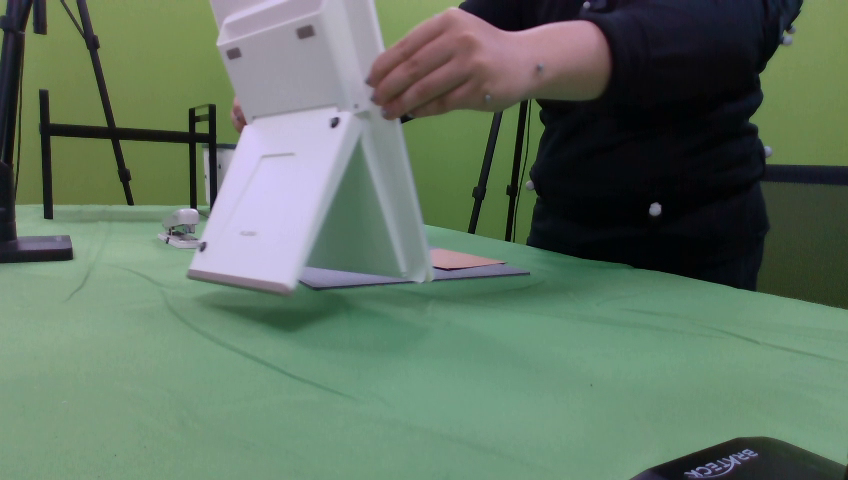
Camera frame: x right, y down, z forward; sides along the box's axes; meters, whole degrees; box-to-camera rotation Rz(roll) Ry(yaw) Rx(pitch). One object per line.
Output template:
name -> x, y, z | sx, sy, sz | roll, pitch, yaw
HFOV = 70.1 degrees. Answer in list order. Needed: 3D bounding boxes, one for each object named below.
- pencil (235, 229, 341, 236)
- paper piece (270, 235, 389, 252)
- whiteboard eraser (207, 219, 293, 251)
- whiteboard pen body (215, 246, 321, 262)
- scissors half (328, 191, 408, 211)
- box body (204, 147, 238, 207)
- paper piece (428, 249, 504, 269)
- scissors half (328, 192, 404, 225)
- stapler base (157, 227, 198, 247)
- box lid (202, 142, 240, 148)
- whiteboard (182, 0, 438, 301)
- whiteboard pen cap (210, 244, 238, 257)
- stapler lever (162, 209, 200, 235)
pencil -> -0.232, -0.012, 1.053 | 0.195, 0.012, 0.012 | 0, 8, -36
paper piece -> -0.151, 0.003, 0.978 | 0.135, 0.008, 0.139 | 13, 10, 35
whiteboard eraser -> -0.253, -0.008, 0.886 | 0.055, 0.042, 0.113 | 12, 12, 43
whiteboard pen body -> -0.208, 0.018, 0.804 | 0.141, 0.017, 0.017 | 3, 7, 2
scissors half -> -0.122, -0.091, 1.318 | 0.175, 0.040, 0.013 | 6, 12, -3
box body -> -0.346, -0.152, 1.519 | 0.366, 0.160, 0.253 | -2, 9, -31
paper piece -> 0.025, 0.026, 0.864 | 0.134, 0.004, 0.136 | 9, 9, 43
scissors half -> -0.127, -0.072, 1.321 | 0.175, 0.040, 0.013 | 22, 5, -5
stapler base -> -0.376, -0.007, 0.935 | 0.041, 0.024, 0.130 | 1, 5, -38
box lid -> -0.344, -0.225, 1.509 | 0.373, 0.015, 0.262 | -2, 8, -31
whiteboard -> -0.146, -0.080, 0.523 | 0.216, 0.305, 0.144 | 5, 26, 44
whiteboard pen cap -> -0.266, 0.014, 0.806 | 0.033, 0.018, 0.018 | 1, 7, 0
stapler lever -> -0.376, -0.031, 0.933 | 0.027, 0.040, 0.117 | 1, 7, -38
